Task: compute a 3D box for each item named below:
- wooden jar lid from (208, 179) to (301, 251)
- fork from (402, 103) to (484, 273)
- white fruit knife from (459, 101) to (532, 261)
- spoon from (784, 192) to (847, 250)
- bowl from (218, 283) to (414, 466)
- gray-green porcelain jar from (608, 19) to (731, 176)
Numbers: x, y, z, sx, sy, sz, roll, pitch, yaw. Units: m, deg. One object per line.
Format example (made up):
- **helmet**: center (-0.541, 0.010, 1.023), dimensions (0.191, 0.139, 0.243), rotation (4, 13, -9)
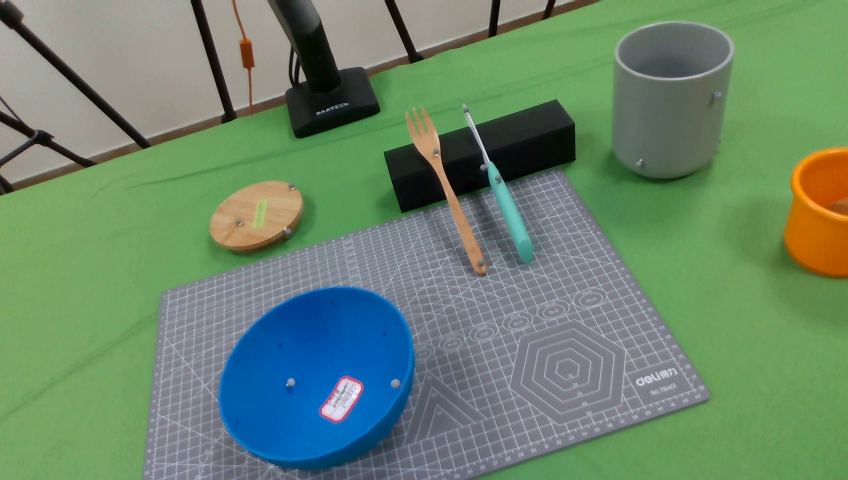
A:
- **wooden jar lid**: center (-0.192, -0.028, 0.693), dimensions (0.108, 0.021, 0.107), rotation (-6, 46, 7)
- **fork**: center (0.019, -0.057, 0.617), dimensions (0.028, 0.019, 0.205), rotation (-18, 64, -9)
- **white fruit knife**: center (0.067, -0.070, 0.619), dimensions (0.016, 0.028, 0.205), rotation (-18, 59, -3)
- **spoon**: center (0.374, -0.056, 0.475), dimensions (0.022, 0.194, 0.041), rotation (20, 39, -27)
- **bowl**: center (-0.074, 0.116, 0.478), dimensions (0.151, 0.077, 0.150), rotation (-8, 46, 8)
- **gray-green porcelain jar**: center (0.238, -0.136, 0.603), dimensions (0.106, 0.128, 0.105), rotation (-8, 46, 8)
